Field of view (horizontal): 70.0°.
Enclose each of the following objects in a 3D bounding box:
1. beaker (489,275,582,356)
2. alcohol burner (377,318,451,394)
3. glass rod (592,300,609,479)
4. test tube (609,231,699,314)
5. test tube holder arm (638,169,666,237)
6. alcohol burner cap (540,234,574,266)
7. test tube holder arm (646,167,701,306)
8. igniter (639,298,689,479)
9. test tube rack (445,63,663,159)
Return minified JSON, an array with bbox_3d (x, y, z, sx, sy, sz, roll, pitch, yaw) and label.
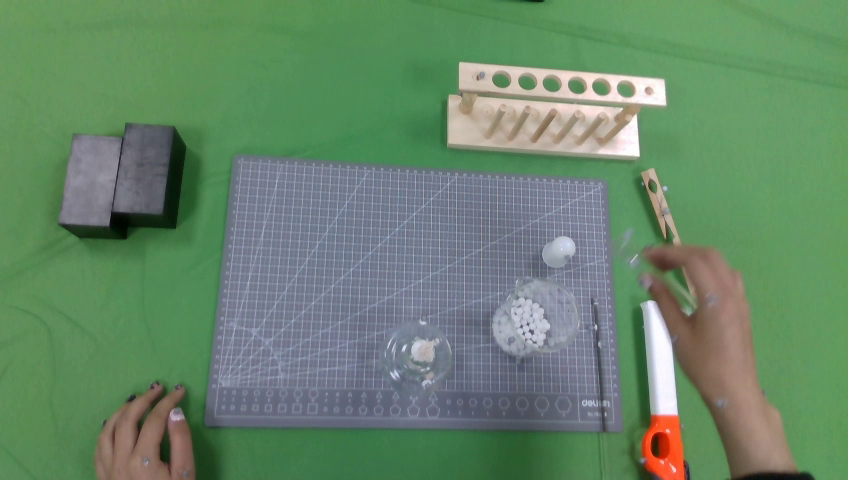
[{"bbox_3d":[0.112,0.083,0.647,0.074,0.100,0.083,-30,80,-14],"label":"beaker"},{"bbox_3d":[-0.008,0.115,0.615,0.078,0.119,0.077,2,72,-6],"label":"alcohol burner"},{"bbox_3d":[0.198,0.166,0.684,0.008,0.008,0.198,2,75,-7],"label":"glass rod"},{"bbox_3d":[0.210,0.032,0.544,0.152,0.017,0.017,33,69,-35],"label":"test tube"},{"bbox_3d":[0.285,-0.046,0.750,0.010,0.015,0.087,-21,78,21],"label":"test tube holder arm"},{"bbox_3d":[0.157,0.010,0.702,0.034,0.048,0.033,2,75,-7],"label":"alcohol burner cap"},{"bbox_3d":[0.303,-0.005,0.740,0.013,0.015,0.177,-22,78,21],"label":"test tube holder arm"},{"bbox_3d":[0.265,0.202,0.677,0.057,0.025,0.275,6,74,-17],"label":"igniter"},{"bbox_3d":[0.151,-0.151,0.724,0.243,0.085,0.066,3,75,-7],"label":"test tube rack"}]
